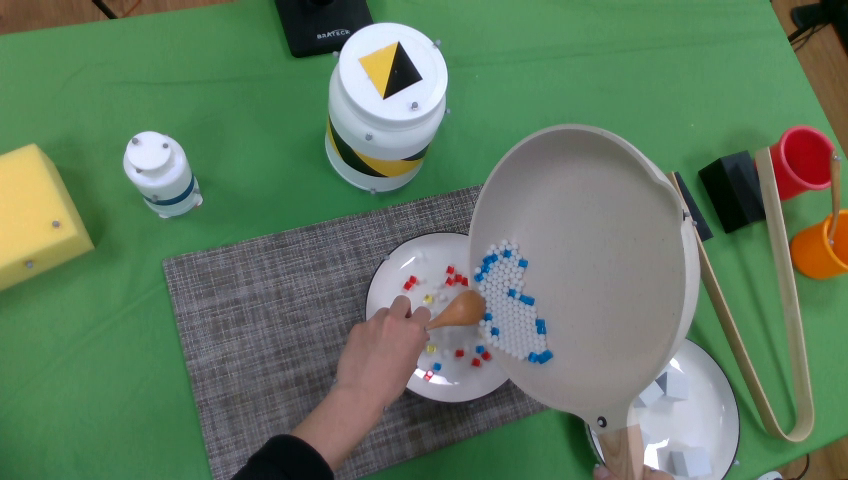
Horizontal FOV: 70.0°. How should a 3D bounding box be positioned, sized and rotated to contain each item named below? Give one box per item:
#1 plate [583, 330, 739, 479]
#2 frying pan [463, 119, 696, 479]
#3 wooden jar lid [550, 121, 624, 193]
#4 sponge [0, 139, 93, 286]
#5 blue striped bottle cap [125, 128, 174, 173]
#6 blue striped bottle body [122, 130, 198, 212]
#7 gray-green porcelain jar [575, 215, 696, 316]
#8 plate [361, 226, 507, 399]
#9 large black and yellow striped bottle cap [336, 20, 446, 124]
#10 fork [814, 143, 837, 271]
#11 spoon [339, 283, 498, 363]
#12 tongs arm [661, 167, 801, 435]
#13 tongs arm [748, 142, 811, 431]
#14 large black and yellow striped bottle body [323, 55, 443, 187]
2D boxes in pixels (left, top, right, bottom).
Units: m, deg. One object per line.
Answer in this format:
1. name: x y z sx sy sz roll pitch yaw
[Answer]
1. plate: 0.292 0.210 0.764 0.208 0.039 0.206 3 74 -11
2. frying pan: 0.168 0.118 0.598 0.103 0.307 0.484 7 64 -31
3. wooden jar lid: 0.226 -0.115 0.849 0.109 0.021 0.108 3 75 -11
4. sponge: -0.487 -0.007 0.643 0.207 0.061 0.118 -29 82 -19
5. blue striped bottle cap: -0.283 -0.093 0.625 0.045 0.021 0.044 3 72 -8
6. blue striped bottle body: -0.293 -0.079 0.674 0.063 0.121 0.062 3 74 -11
7. gray-green porcelain jar: 0.255 0.038 0.756 0.106 0.127 0.105 3 74 -11
8. plate: 0.026 0.086 0.736 0.210 0.038 0.208 3 74 -11
9. large black and yellow striped bottle cap: -0.034 -0.176 0.633 0.115 0.019 0.114 3 73 -10
10. fork: 0.553 -0.041 0.829 0.028 0.018 0.209 -28 126 -10
11. spoon: -0.002 0.095 0.666 0.194 0.021 0.042 -20 119 -12
12. tongs arm: 0.399 0.079 0.793 0.051 0.026 0.384 -20 90 -19
13. tongs arm: 0.477 0.059 0.817 0.028 0.027 0.386 -5 85 -21
14. large black and yellow striped bottle body: -0.051 -0.153 0.714 0.131 0.184 0.130 3 73 -11
